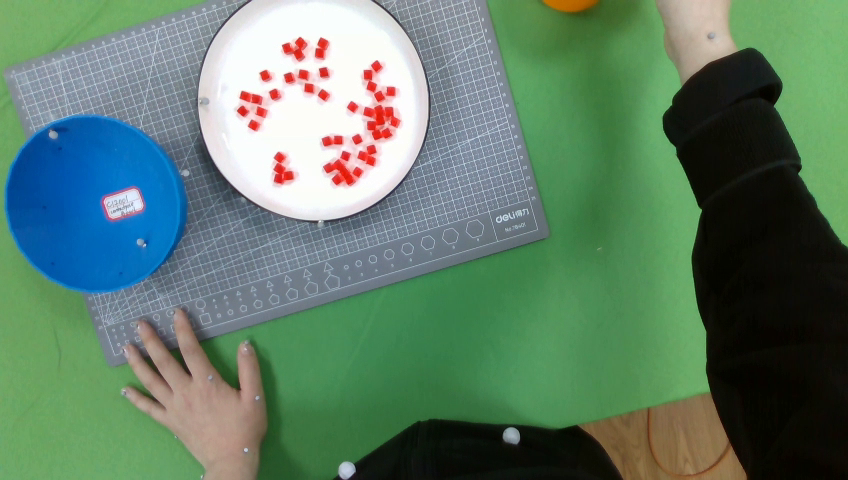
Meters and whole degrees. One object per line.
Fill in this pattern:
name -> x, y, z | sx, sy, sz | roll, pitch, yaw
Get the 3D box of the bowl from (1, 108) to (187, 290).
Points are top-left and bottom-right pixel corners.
bowl -> -0.277, -0.036, 0.542 | 0.151, 0.076, 0.151 | 0, 96, 1

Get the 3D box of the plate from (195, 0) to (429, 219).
plate -> -0.098, -0.125, 0.549 | 0.209, 0.038, 0.209 | 0, 96, 1
